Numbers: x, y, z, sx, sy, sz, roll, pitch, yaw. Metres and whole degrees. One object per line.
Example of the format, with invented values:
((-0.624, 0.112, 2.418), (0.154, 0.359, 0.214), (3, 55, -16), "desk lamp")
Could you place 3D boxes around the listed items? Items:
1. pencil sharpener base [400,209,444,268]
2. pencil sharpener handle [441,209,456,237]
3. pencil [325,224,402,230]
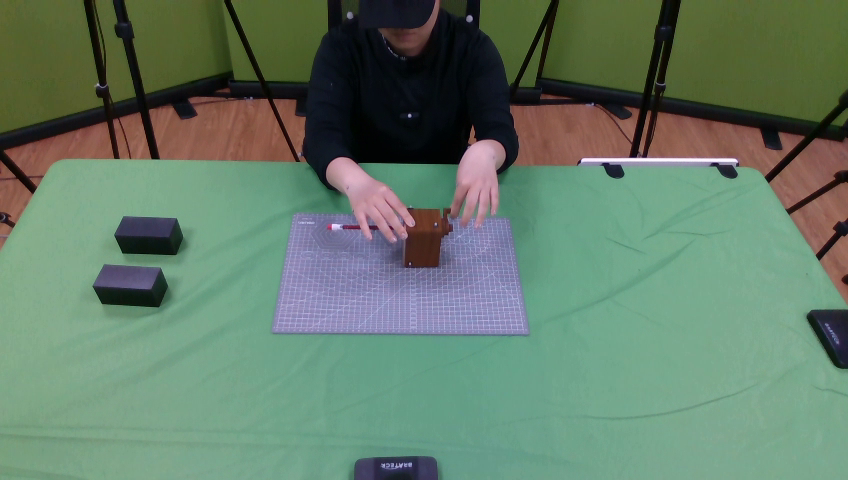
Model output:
((-0.004, -0.002, 1.136), (0.077, 0.107, 0.061), (-1, 46, -5), "pencil sharpener base")
((0.047, -0.034, 1.131), (0.031, 0.036, 0.067), (-1, 48, -5), "pencil sharpener handle")
((-0.084, -0.023, 1.111), (0.194, 0.012, 0.012), (0, 46, -5), "pencil")
